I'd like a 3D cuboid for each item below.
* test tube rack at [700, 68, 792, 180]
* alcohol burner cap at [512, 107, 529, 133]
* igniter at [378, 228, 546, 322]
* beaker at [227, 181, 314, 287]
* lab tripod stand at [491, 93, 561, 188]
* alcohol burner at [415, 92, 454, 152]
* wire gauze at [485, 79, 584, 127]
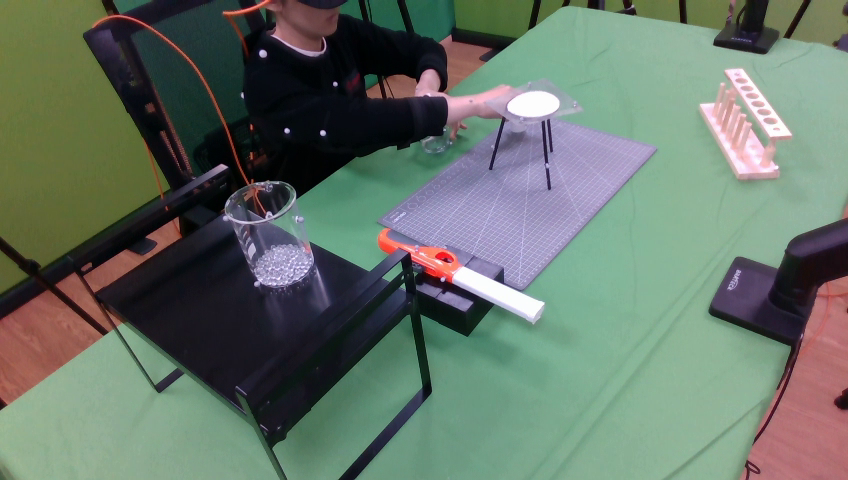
[{"bbox_3d":[0.572,-0.215,1.090,0.066,0.085,0.241,-3,41,7],"label":"test tube rack"},{"bbox_3d":[0.190,-0.240,1.196,0.034,0.048,0.033,-7,43,7],"label":"alcohol burner cap"},{"bbox_3d":[0.041,0.043,0.843,0.274,0.025,0.057,24,47,29],"label":"igniter"},{"bbox_3d":[-0.166,-0.006,0.670,0.074,0.101,0.083,-8,40,0],"label":"beaker"},{"bbox_3d":[0.189,-0.180,1.066,0.148,0.132,0.147,-5,42,5],"label":"lab tripod stand"},{"bbox_3d":[0.019,-0.232,1.172,0.078,0.119,0.077,-4,39,3],"label":"alcohol burner"},{"bbox_3d":[0.185,-0.232,1.023,0.125,0.011,0.120,-20,42,-12],"label":"wire gauze"}]
